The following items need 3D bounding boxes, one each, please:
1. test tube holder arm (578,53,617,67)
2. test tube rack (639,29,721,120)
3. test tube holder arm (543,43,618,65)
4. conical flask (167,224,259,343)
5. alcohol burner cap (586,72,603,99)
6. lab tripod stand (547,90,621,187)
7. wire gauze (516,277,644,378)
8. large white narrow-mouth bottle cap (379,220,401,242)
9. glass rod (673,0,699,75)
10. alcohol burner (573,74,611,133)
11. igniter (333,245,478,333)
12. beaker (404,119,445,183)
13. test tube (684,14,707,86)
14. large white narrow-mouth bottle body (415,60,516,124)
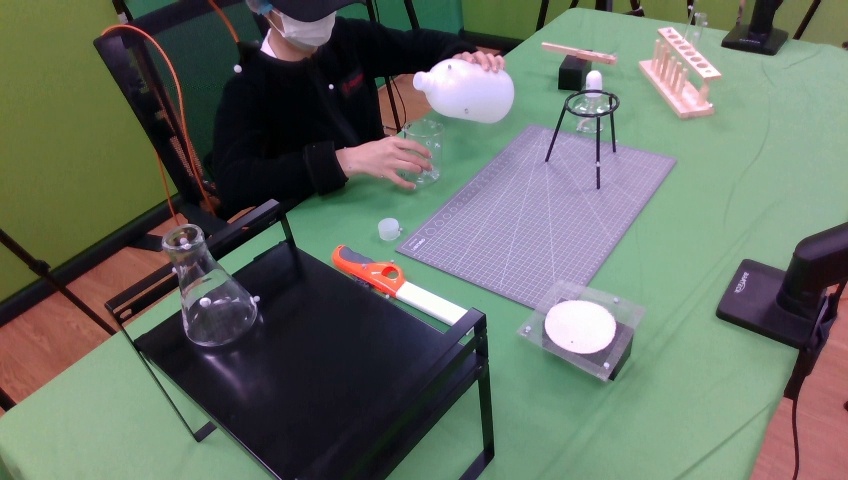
[{"bbox_3d":[0.376,-0.393,1.314,0.087,0.015,0.010,26,51,32],"label":"test tube holder arm"},{"bbox_3d":[0.527,-0.351,1.262,0.067,0.085,0.241,-8,40,1],"label":"test tube rack"},{"bbox_3d":[0.345,-0.413,1.340,0.177,0.015,0.013,25,50,31],"label":"test tube holder arm"},{"bbox_3d":[-0.220,0.041,0.613,0.075,0.122,0.075,-5,40,4],"label":"conical flask"},{"bbox_3d":[0.325,-0.297,1.154,0.034,0.048,0.033,-8,35,6],"label":"alcohol burner cap"},{"bbox_3d":[0.289,-0.184,1.062,0.148,0.132,0.147,-6,41,6],"label":"lab tripod stand"},{"bbox_3d":[0.197,0.103,0.765,0.124,0.011,0.122,23,50,32],"label":"wire gauze"},{"bbox_3d":[-0.057,-0.015,1.011,0.038,0.024,0.037,-4,40,4],"label":"large white narrow-mouth bottle cap"},{"bbox_3d":[0.541,-0.427,1.246,0.008,0.200,0.008,0,48,1],"label":"glass rod"},{"bbox_3d":[0.330,-0.270,1.176,0.078,0.119,0.077,-4,43,4],"label":"alcohol burner"},{"bbox_3d":[-0.038,0.068,0.905,0.274,0.025,0.057,24,60,32],"label":"igniter"},{"bbox_3d":[0.003,-0.163,1.109,0.073,0.100,0.084,19,38,23],"label":"beaker"},{"bbox_3d":[0.541,-0.379,1.216,0.017,0.151,0.017,-2,44,2],"label":"test tube"},{"bbox_3d":[0.069,-0.274,1.106,0.196,0.102,0.101,1,30,-37],"label":"large white narrow-mouth bottle body"}]
